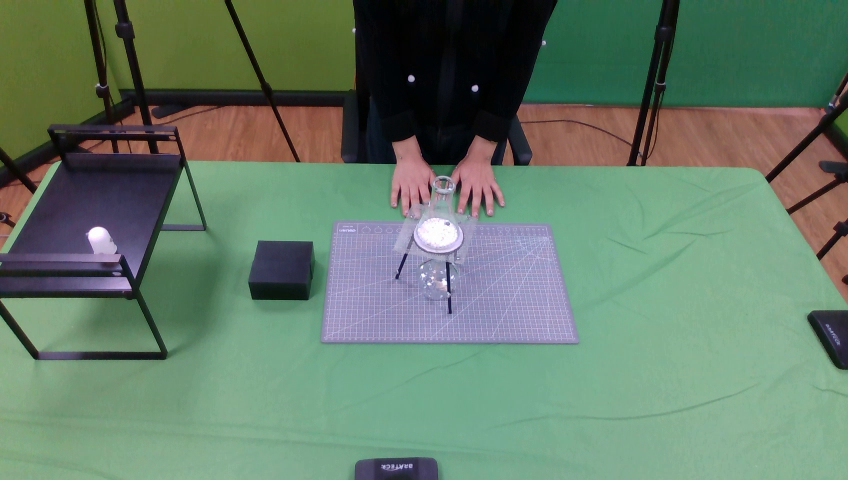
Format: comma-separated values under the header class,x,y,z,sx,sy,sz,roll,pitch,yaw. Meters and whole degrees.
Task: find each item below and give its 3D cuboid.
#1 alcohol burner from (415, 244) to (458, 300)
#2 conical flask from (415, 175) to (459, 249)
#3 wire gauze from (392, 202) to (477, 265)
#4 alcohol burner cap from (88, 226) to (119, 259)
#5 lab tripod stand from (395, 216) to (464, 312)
class,x,y,z,sx,sy,sz,roll,pitch,yaw
alcohol burner,0.024,0.051,1.084,0.078,0.119,0.077,3,45,-3
conical flask,0.026,-0.049,0.993,0.075,0.122,0.075,3,47,-3
wire gauze,0.021,-0.011,1.037,0.121,0.011,0.124,13,49,8
alcohol burner cap,-0.476,0.002,0.895,0.034,0.048,0.033,1,47,-1
lab tripod stand,0.023,0.037,1.084,0.148,0.132,0.147,4,47,-4
